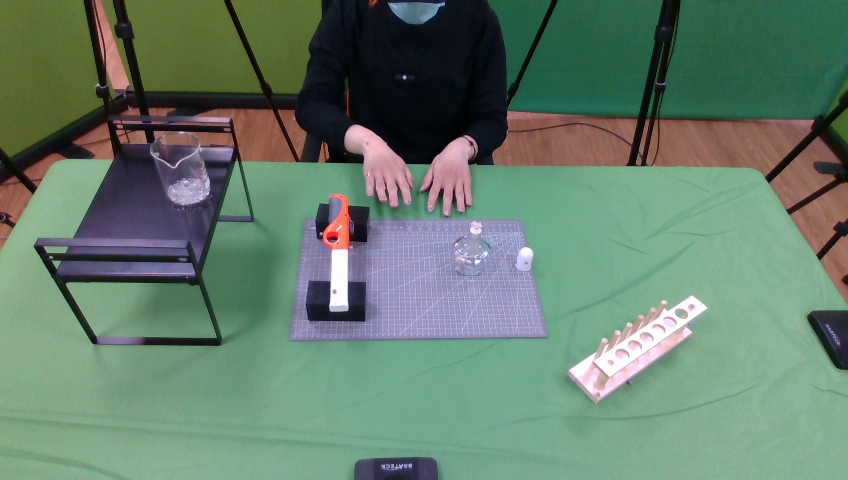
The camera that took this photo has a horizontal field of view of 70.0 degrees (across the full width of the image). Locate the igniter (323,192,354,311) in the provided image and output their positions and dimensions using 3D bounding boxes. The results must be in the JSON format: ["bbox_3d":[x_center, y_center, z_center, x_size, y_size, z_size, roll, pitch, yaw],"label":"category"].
[{"bbox_3d":[-0.155,0.012,1.098,0.057,0.025,0.274,-2,48,-7],"label":"igniter"}]

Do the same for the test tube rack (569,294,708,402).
[{"bbox_3d":[0.360,0.167,1.014,0.242,0.085,0.066,-25,53,-25],"label":"test tube rack"}]

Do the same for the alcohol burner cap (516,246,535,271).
[{"bbox_3d":[0.195,0.032,1.158,0.034,0.048,0.033,2,45,-2],"label":"alcohol burner cap"}]

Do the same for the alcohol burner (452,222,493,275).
[{"bbox_3d":[0.091,0.009,1.124,0.078,0.119,0.077,2,48,-2],"label":"alcohol burner"}]

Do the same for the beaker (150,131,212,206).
[{"bbox_3d":[-0.385,-0.110,0.969,0.074,0.101,0.083,-6,48,-9],"label":"beaker"}]
